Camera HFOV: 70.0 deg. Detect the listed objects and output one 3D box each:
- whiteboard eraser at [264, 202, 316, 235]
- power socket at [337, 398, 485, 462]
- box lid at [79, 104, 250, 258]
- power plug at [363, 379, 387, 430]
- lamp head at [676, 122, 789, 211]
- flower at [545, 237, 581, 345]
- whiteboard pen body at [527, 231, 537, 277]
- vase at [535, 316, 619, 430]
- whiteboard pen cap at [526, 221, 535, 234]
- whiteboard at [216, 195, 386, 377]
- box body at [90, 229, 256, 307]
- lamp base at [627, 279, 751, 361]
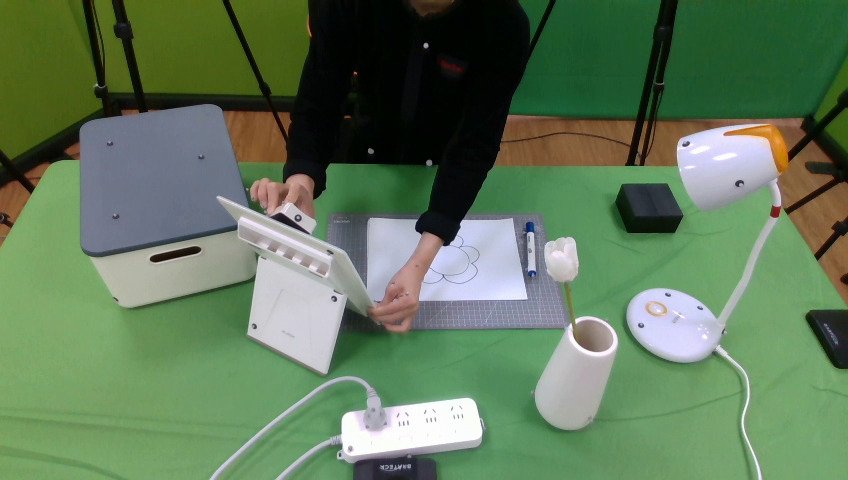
[{"bbox_3d":[-0.207,-0.023,0.902,0.056,0.112,0.041,36,70,-23],"label":"whiteboard eraser"},{"bbox_3d":[-0.018,0.285,0.914,0.227,0.033,0.071,-4,46,-8],"label":"power socket"},{"bbox_3d":[-0.467,-0.120,1.075,0.264,0.015,0.369,-13,49,-17],"label":"box lid"},{"bbox_3d":[-0.072,0.252,0.911,0.035,0.053,0.072,3,40,0],"label":"power plug"},{"bbox_3d":[0.423,-0.104,0.819,0.122,0.113,0.112,-13,33,40],"label":"lamp head"},{"bbox_3d":[0.213,0.137,0.846,0.038,0.364,0.044,21,55,40],"label":"flower"},{"bbox_3d":[0.211,0.018,1.191,0.017,0.017,0.140,6,44,2],"label":"whiteboard pen body"},{"bbox_3d":[0.229,0.200,0.900,0.098,0.201,0.097,3,46,-3],"label":"vase"},{"bbox_3d":[0.216,-0.022,1.234,0.018,0.018,0.033,6,45,2],"label":"whiteboard pen cap"},{"bbox_3d":[-0.212,0.093,0.938,0.216,0.307,0.143,24,70,17],"label":"whiteboard"},{"bbox_3d":[-0.471,-0.070,1.131,0.254,0.161,0.361,-14,49,-17],"label":"box body"},{"bbox_3d":[0.460,0.100,1.027,0.178,0.181,0.160,27,51,17],"label":"lamp base"}]
